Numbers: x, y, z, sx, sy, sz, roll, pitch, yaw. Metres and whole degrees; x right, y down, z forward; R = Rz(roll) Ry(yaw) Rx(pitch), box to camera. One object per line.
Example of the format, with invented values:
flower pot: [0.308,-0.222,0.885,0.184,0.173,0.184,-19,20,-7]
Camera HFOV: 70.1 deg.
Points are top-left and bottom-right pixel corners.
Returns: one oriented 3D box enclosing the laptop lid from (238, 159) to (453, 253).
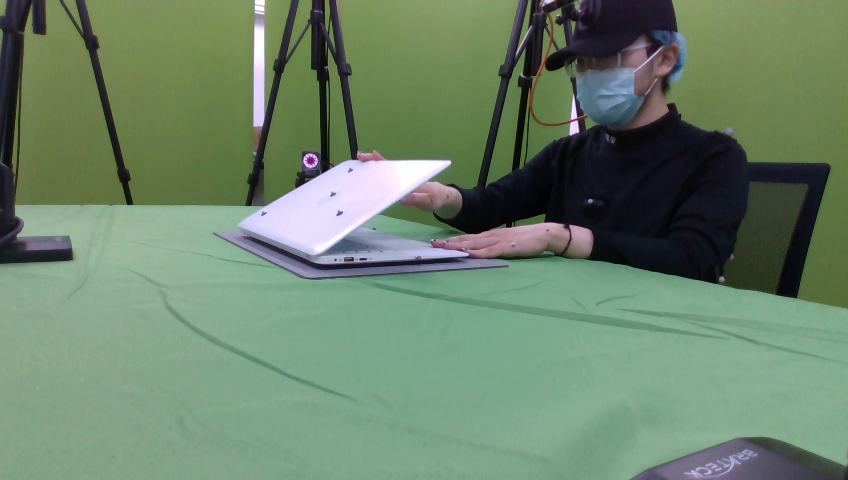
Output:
laptop lid: [-0.137,-0.066,0.916,0.242,0.013,0.355,-34,24,-22]

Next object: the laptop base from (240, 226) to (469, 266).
laptop base: [-0.124,0.005,0.936,0.237,0.023,0.352,1,7,-33]
